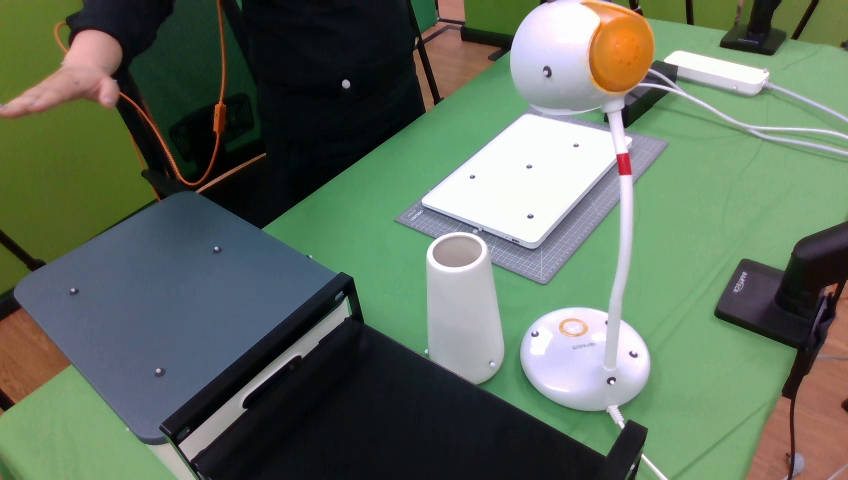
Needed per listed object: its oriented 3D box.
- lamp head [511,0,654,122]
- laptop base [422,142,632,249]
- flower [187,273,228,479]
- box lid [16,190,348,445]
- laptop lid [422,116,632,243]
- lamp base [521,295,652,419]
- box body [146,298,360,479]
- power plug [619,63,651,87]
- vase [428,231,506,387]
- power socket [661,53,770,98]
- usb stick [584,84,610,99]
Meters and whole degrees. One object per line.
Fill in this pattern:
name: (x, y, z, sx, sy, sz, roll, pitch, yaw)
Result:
lamp head: (0.155, -0.168, 0.563, 0.113, 0.113, 0.122, -18, 23, -12)
laptop base: (0.192, -0.117, 1.087, 0.233, 0.023, 0.355, 21, 47, 34)
flower: (-0.282, 0.161, 0.819, 0.044, 0.038, 0.359, 9, 34, -21)
box lid: (-0.295, 0.062, 0.723, 0.368, 0.015, 0.264, 26, 51, 34)
laptop lid: (0.189, -0.126, 1.081, 0.239, 0.013, 0.358, 23, 48, 35)
lamp base: (0.200, 0.095, 0.710, 0.161, 0.181, 0.178, -16, 43, -10)
box body: (-0.288, 0.118, 0.772, 0.361, 0.161, 0.255, 26, 50, 33)
power plug: (0.435, -0.341, 1.265, 0.035, 0.053, 0.072, 5, 31, -14)
vase: (0.050, 0.087, 0.728, 0.098, 0.201, 0.097, -3, 40, 3)
power socket: (0.616, -0.355, 1.292, 0.225, 0.033, 0.072, 29, 53, 35)
usb stick: (0.353, -0.306, 1.252, 0.027, 0.021, 0.058, 0, 0, -40)
